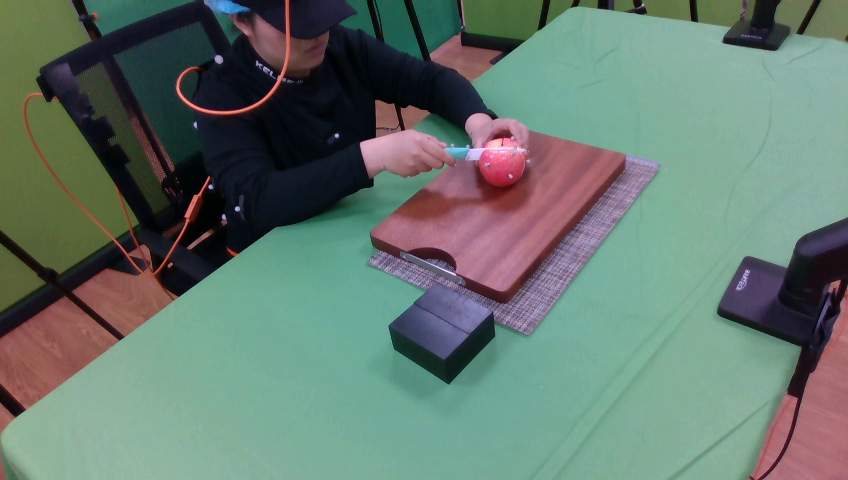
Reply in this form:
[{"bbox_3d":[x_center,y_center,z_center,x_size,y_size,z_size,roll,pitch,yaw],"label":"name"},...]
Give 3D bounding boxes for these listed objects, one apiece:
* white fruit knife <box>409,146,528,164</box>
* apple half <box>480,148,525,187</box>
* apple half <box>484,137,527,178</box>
[{"bbox_3d":[0.072,-0.147,1.023,0.207,0.027,0.016,-2,39,14],"label":"white fruit knife"},{"bbox_3d":[0.131,-0.116,1.014,0.081,0.081,0.032,1,39,13],"label":"apple half"},{"bbox_3d":[0.139,-0.142,1.043,0.080,0.075,0.053,-3,36,16],"label":"apple half"}]
